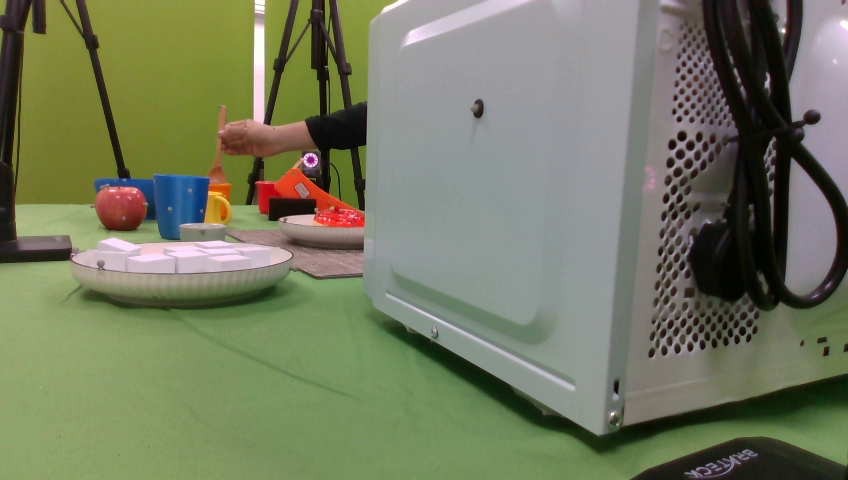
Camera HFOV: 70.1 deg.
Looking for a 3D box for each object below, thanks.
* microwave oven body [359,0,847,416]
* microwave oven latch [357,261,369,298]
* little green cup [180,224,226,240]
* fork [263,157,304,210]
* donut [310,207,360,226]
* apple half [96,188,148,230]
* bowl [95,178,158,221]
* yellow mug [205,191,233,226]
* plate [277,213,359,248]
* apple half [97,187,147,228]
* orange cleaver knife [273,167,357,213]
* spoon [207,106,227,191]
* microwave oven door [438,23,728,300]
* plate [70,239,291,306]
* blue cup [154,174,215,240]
[{"bbox_3d":[0.211,-0.047,0.474,0.444,0.260,0.324,-1,7,-28],"label":"microwave oven body"},{"bbox_3d":[-0.019,0.034,0.530,0.079,0.029,0.030,0,7,-25],"label":"microwave oven latch"},{"bbox_3d":[-0.309,-0.001,0.846,0.061,0.038,0.061,2,8,0],"label":"little green cup"},{"bbox_3d":[-0.345,-0.143,1.505,0.028,0.019,0.207,-5,45,29],"label":"fork"},{"bbox_3d":[-0.137,-0.029,0.995,0.099,0.048,0.099,4,9,0],"label":"donut"},{"bbox_3d":[-0.517,-0.052,1.036,0.081,0.074,0.053,2,10,-26],"label":"apple half"},{"bbox_3d":[-0.576,-0.081,1.217,0.151,0.077,0.151,3,8,0],"label":"bowl"},{"bbox_3d":[-0.415,-0.057,1.131,0.130,0.064,0.100,6,8,16],"label":"yellow mug"},{"bbox_3d":[-0.135,-0.017,0.992,0.209,0.038,0.209,2,8,0],"label":"plate"},{"bbox_3d":[-0.534,-0.059,1.071,0.082,0.081,0.032,-1,10,-25],"label":"apple half"},{"bbox_3d":[-0.238,-0.091,1.381,0.212,0.077,0.012,31,0,-19],"label":"orange cleaver knife"},{"bbox_3d":[-0.438,-0.198,1.299,0.042,0.193,0.021,5,-8,-11],"label":"spoon"},{"bbox_3d":[0.181,-0.073,0.620,0.358,0.243,0.039,-2,8,-29],"label":"microwave oven door"},{"bbox_3d":[-0.242,0.031,0.618,0.208,0.039,0.207,2,8,0],"label":"plate"},{"bbox_3d":[-0.391,-0.053,0.978,0.093,0.100,0.092,4,6,0],"label":"blue cup"}]
